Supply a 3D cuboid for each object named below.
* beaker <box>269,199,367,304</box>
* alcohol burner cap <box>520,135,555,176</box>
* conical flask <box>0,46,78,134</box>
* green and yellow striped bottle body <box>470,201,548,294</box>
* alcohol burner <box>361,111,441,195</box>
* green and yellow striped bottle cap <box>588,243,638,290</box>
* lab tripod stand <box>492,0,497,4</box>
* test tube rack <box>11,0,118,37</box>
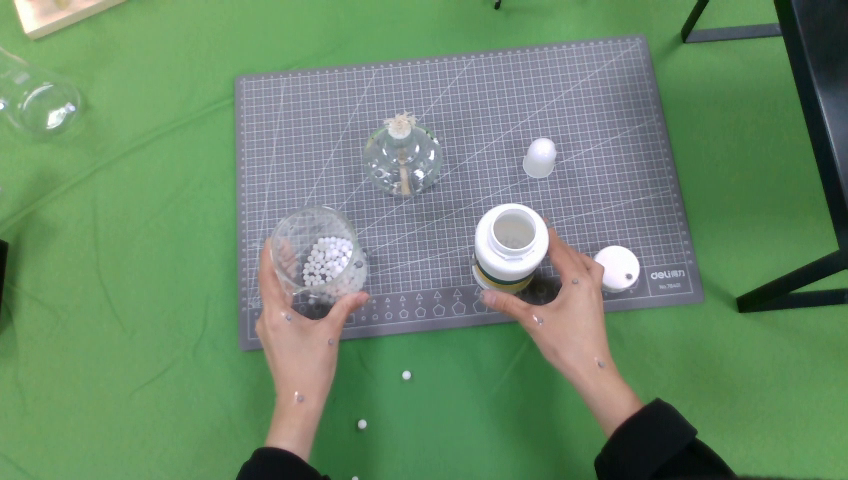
[{"bbox_3d":[-0.094,0.018,0.554,0.074,0.101,0.083,24,76,9],"label":"beaker"},{"bbox_3d":[0.115,-0.087,0.607,0.034,0.048,0.033,0,73,1],"label":"alcohol burner cap"},{"bbox_3d":[-0.414,-0.164,0.604,0.075,0.122,0.075,0,74,2],"label":"conical flask"},{"bbox_3d":[0.074,0.006,0.541,0.063,0.120,0.063,0,74,2],"label":"green and yellow striped bottle body"},{"bbox_3d":[-0.023,-0.088,0.574,0.078,0.120,0.077,0,73,0],"label":"alcohol burner"},{"bbox_3d":[0.184,0.025,0.588,0.045,0.020,0.045,0,76,1],"label":"green and yellow striped bottle cap"},{"bbox_3d":[0.134,-0.327,0.629,0.148,0.132,0.147,0,73,0],"label":"lab tripod stand"},{"bbox_3d":[-0.354,-0.322,0.666,0.242,0.085,0.066,-26,75,-6],"label":"test tube rack"}]
